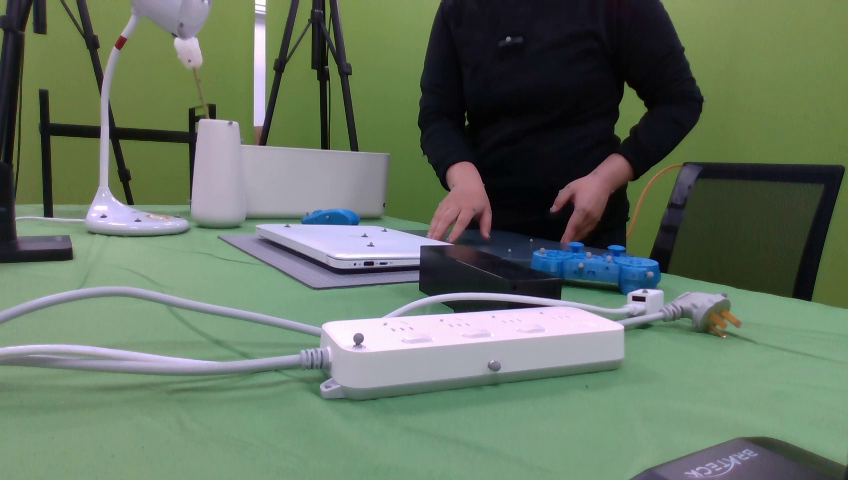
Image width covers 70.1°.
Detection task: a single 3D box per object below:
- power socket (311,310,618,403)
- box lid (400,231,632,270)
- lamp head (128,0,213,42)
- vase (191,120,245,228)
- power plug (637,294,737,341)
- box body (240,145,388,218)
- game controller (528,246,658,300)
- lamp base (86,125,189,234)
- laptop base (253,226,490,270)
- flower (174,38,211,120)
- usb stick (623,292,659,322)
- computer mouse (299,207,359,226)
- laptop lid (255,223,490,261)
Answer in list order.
[{"bbox_3d":[0.034,0.074,0.415,0.228,0.032,0.072,-1,7,-24],"label":"power socket"},{"bbox_3d":[0.139,0.014,1.045,0.265,0.015,0.369,-1,8,-32],"label":"box lid"},{"bbox_3d":[-0.423,-0.394,0.980,0.123,0.112,0.112,20,7,-3],"label":"lamp head"},{"bbox_3d":[-0.389,-0.124,1.142,0.098,0.200,0.098,3,9,0],"label":"vase"},{"bbox_3d":[0.234,0.077,0.535,0.072,0.035,0.052,-34,40,-5],"label":"power plug"},{"bbox_3d":[-0.297,-0.143,1.474,0.366,0.160,0.253,-1,9,-30],"label":"box body"},{"bbox_3d":[0.202,0.037,0.733,0.155,0.051,0.097,5,10,19],"label":"game controller"},{"bbox_3d":[-0.497,-0.105,1.027,0.179,0.180,0.160,1,7,2],"label":"lamp base"},{"bbox_3d":[-0.096,0.012,0.911,0.237,0.023,0.352,3,6,-32],"label":"laptop base"},{"bbox_3d":[-0.401,-0.207,1.141,0.038,0.361,0.044,-14,3,45],"label":"flower"},{"bbox_3d":[0.211,0.064,0.580,0.021,0.027,0.059,-3,-4,36],"label":"usb stick"},{"bbox_3d":[-0.195,-0.046,1.241,0.117,0.041,0.063,0,10,11],"label":"computer mouse"},{"bbox_3d":[-0.093,0.000,0.911,0.243,0.013,0.355,1,7,-30],"label":"laptop lid"}]
